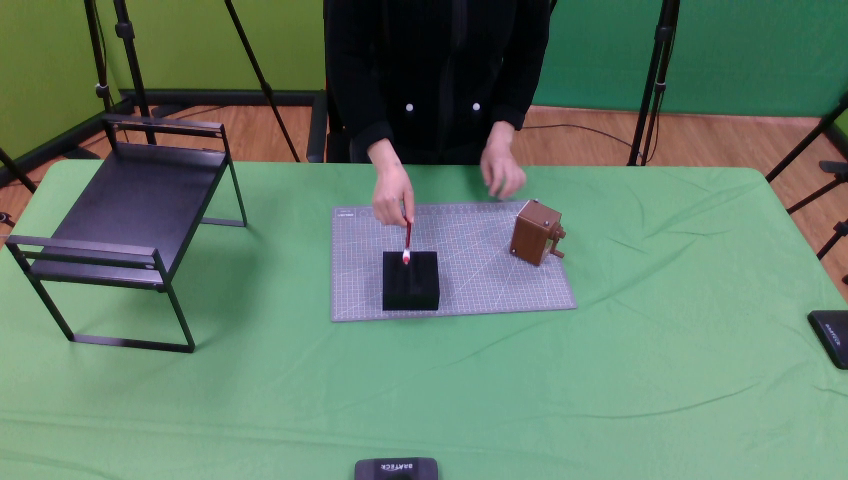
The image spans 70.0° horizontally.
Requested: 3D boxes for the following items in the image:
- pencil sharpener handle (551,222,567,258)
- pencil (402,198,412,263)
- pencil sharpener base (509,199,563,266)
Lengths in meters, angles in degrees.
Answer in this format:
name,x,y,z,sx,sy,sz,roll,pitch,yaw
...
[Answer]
name,x,y,z,sx,sy,sz,roll,pitch,yaw
pencil sharpener handle,0.258,0.002,1.132,0.030,0.068,0.036,27,43,21
pencil,-0.029,-0.023,1.123,0.012,0.012,0.193,4,39,0
pencil sharpener base,0.216,-0.012,1.160,0.076,0.107,0.061,27,50,21
